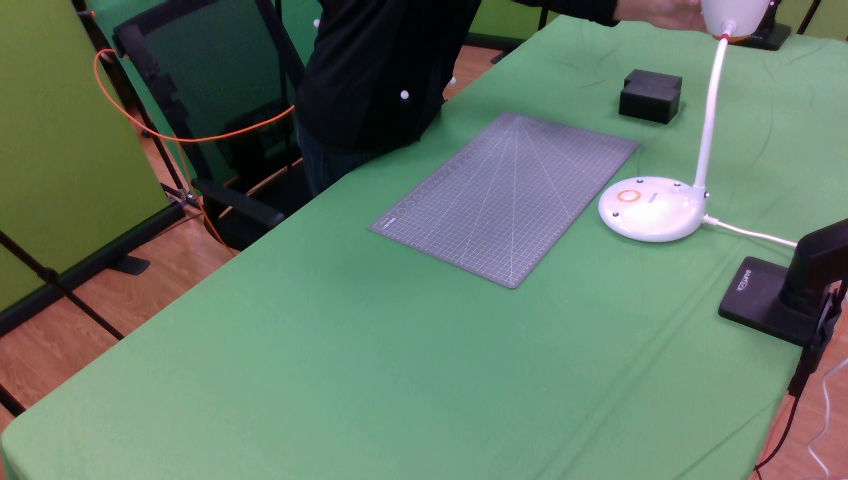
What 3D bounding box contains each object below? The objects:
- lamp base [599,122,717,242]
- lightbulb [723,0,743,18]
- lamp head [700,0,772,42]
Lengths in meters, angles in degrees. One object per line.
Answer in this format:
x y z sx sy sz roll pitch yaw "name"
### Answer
0.367 -0.108 0.919 0.178 0.181 0.160 13 45 20 "lamp base"
0.464 -0.387 0.906 0.059 0.108 0.059 -13 35 10 "lightbulb"
0.471 -0.364 0.915 0.112 0.123 0.112 -7 34 5 "lamp head"
